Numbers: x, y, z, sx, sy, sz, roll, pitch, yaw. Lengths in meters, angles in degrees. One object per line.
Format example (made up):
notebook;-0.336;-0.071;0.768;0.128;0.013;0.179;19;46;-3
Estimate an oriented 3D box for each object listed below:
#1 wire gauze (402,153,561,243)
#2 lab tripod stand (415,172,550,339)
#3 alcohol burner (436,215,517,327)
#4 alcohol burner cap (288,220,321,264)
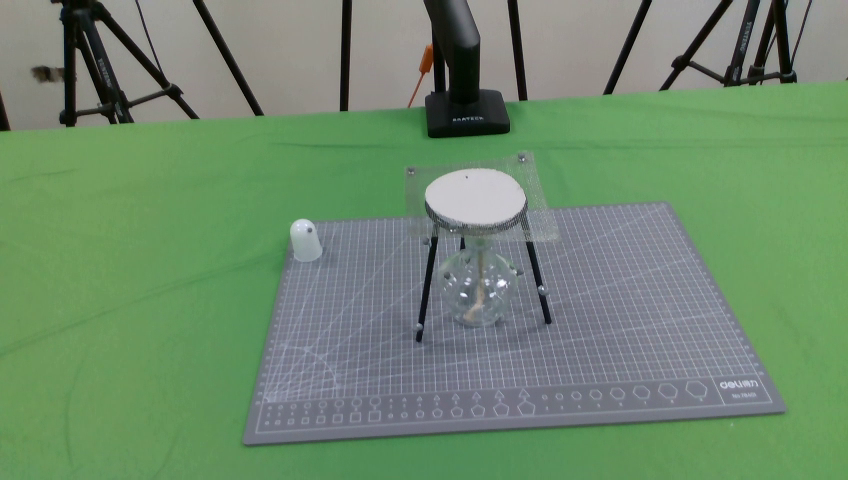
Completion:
wire gauze;0.044;-0.037;0.520;0.125;0.011;0.120;-2;40;-1
lab tripod stand;0.050;0.015;0.564;0.148;0.132;0.147;-1;39;1
alcohol burner;0.050;0.025;0.568;0.078;0.120;0.077;0;39;1
alcohol burner cap;-0.133;-0.001;0.667;0.034;0.048;0.033;-1;41;1
